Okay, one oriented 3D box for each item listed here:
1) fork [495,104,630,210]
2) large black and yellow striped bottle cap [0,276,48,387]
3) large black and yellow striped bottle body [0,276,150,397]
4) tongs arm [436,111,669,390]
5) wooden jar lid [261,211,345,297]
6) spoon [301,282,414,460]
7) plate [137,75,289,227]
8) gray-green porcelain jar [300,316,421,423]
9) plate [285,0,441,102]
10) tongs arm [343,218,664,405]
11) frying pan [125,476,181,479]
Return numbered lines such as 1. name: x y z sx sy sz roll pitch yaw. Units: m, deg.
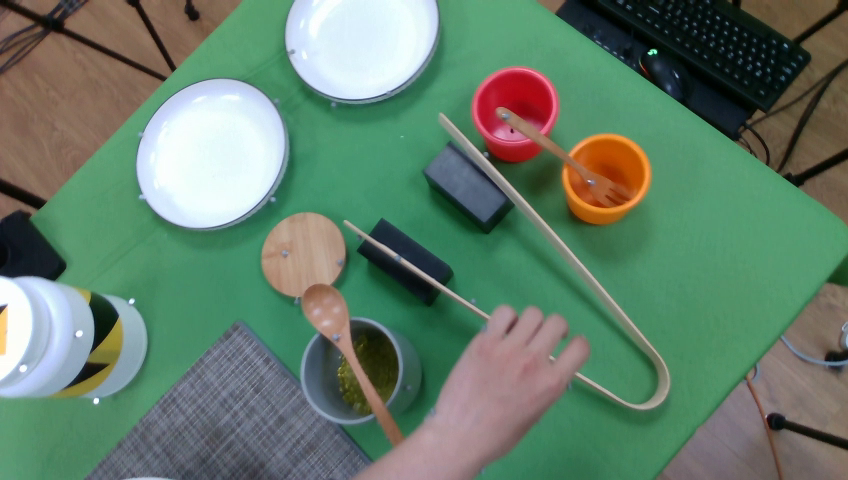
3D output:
1. fork: 0.154 -0.089 0.658 0.209 0.018 0.028 30 92 -29
2. large black and yellow striped bottle cap: -0.440 0.093 0.614 0.115 0.019 0.114 -2 78 8
3. large black and yellow striped bottle body: -0.425 0.114 0.694 0.130 0.185 0.130 -2 76 10
4. tongs arm: 0.138 0.005 0.666 0.028 0.028 0.386 -40 85 -11
5. wooden jar lid: -0.148 0.017 0.754 0.108 0.021 0.108 -2 78 9
6. spoon: -0.063 0.126 0.586 0.041 0.022 0.192 -30 78 -1
7. plate: -0.272 -0.114 0.796 0.207 0.039 0.206 -2 77 9
8. gray-green porcelain jar: -0.062 0.141 0.655 0.105 0.127 0.105 -2 76 9
9. plate: -0.078 -0.275 0.798 0.209 0.038 0.208 -2 77 10
10. tongs arm: 0.083 0.070 0.657 0.384 0.026 0.050 35 82 3
11. frying pan: -0.285 0.501 0.619 0.306 0.103 0.484 -7 68 9
